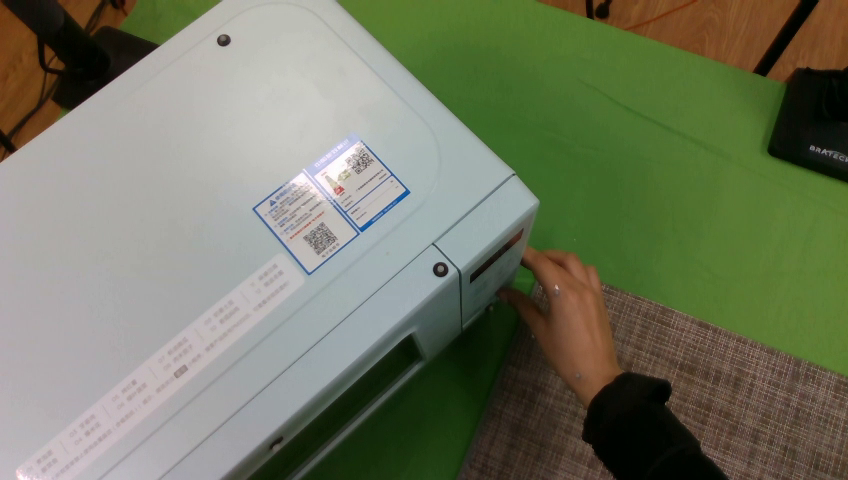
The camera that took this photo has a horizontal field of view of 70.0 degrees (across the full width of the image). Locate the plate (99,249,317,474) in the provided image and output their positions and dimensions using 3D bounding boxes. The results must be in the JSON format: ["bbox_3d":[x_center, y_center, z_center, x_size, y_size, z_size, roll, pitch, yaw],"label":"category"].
[{"bbox_3d":[-0.195,0.109,0.563,0.209,0.038,0.207,-4,66,10],"label":"plate"}]

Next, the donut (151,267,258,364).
[{"bbox_3d":[-0.209,0.072,0.583,0.099,0.048,0.098,4,60,-7],"label":"donut"}]

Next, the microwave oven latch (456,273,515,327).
[{"bbox_3d":[0.059,0.054,0.627,0.079,0.030,0.030,-40,75,-9],"label":"microwave oven latch"}]

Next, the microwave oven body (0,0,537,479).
[{"bbox_3d":[-0.178,0.035,0.544,0.441,0.262,0.324,-41,75,-9],"label":"microwave oven body"}]

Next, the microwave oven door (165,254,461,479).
[{"bbox_3d":[-0.113,0.162,0.494,0.355,0.245,0.039,-41,73,-10],"label":"microwave oven door"}]
